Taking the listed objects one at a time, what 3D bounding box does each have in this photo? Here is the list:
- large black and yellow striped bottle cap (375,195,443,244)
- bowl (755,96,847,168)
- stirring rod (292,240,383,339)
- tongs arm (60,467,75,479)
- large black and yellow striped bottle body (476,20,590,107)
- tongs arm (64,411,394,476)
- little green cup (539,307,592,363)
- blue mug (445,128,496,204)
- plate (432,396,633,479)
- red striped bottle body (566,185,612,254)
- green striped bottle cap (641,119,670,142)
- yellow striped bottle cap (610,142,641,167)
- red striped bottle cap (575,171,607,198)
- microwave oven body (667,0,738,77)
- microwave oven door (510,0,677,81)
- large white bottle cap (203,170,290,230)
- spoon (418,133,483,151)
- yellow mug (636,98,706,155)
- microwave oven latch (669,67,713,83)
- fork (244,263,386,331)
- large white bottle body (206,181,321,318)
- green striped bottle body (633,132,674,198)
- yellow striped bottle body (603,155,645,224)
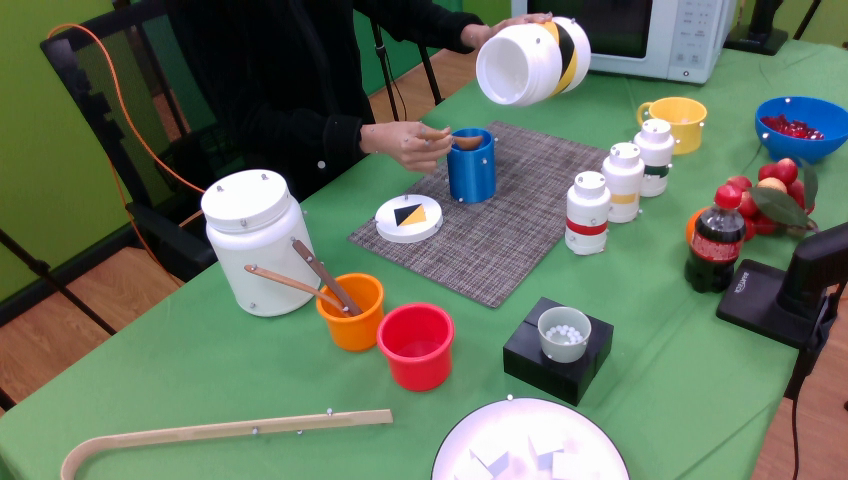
[{"bbox_3d":[-0.026,-0.036,1.022,0.115,0.019,0.114,-3,41,4],"label":"large black and yellow striped bottle cap"},{"bbox_3d":[0.645,-0.177,1.041,0.151,0.077,0.150,-5,40,4],"label":"bowl"},{"bbox_3d":[-0.118,0.068,0.826,0.176,0.006,0.014,49,60,-4],"label":"stirring rod"},{"bbox_3d":[-0.239,0.301,0.648,0.386,0.028,0.028,6,49,16],"label":"tongs arm"},{"bbox_3d":[0.186,-0.302,1.037,0.129,0.131,0.185,26,36,34],"label":"large black and yellow striped bottle body"},{"bbox_3d":[-0.228,0.241,0.715,0.385,0.026,0.050,-5,43,4],"label":"tongs arm"},{"bbox_3d":[0.168,0.115,0.721,0.061,0.039,0.061,-4,42,4],"label":"little green cup"},{"bbox_3d":[0.083,-0.139,1.058,0.082,0.106,0.116,-2,40,7],"label":"blue mug"},{"bbox_3d":[0.112,0.261,0.634,0.209,0.038,0.208,-5,40,4],"label":"plate"},{"bbox_3d":[0.248,-0.041,0.910,0.063,0.120,0.062,-4,41,4],"label":"red striped bottle body"},{"bbox_3d":[0.371,-0.175,0.968,0.044,0.020,0.044,-5,42,5],"label":"green striped bottle cap"},{"bbox_3d":[0.308,-0.131,0.925,0.044,0.019,0.044,-4,45,5],"label":"yellow striped bottle cap"},{"bbox_3d":[0.242,-0.082,0.876,0.044,0.018,0.044,-5,44,5],"label":"red striped bottle cap"},{"bbox_3d":[0.462,-0.552,1.369,0.439,0.261,0.326,15,45,26],"label":"microwave oven body"},{"bbox_3d":[0.354,-0.478,1.290,0.353,0.245,0.039,15,45,25],"label":"microwave oven door"},{"bbox_3d":[-0.241,-0.057,0.822,0.115,0.018,0.114,-4,41,4],"label":"large white bottle cap"},{"bbox_3d":[0.041,-0.157,0.948,0.195,0.041,0.021,-6,66,-56],"label":"spoon"},{"bbox_3d":[0.453,-0.217,1.128,0.100,0.064,0.129,-34,46,-27],"label":"yellow mug"},{"bbox_3d":[0.556,-0.348,1.262,0.078,0.029,0.030,15,46,26],"label":"microwave oven latch"},{"bbox_3d":[-0.141,0.077,0.807,0.209,0.018,0.028,30,44,-24],"label":"fork"},{"bbox_3d":[-0.233,0.008,0.876,0.130,0.185,0.130,-5,40,4],"label":"large white bottle body"},{"bbox_3d":[0.376,-0.135,1.001,0.063,0.120,0.063,-5,40,5],"label":"green striped bottle body"},{"bbox_3d":[0.314,-0.091,0.958,0.063,0.121,0.062,-4,40,4],"label":"yellow striped bottle body"}]
